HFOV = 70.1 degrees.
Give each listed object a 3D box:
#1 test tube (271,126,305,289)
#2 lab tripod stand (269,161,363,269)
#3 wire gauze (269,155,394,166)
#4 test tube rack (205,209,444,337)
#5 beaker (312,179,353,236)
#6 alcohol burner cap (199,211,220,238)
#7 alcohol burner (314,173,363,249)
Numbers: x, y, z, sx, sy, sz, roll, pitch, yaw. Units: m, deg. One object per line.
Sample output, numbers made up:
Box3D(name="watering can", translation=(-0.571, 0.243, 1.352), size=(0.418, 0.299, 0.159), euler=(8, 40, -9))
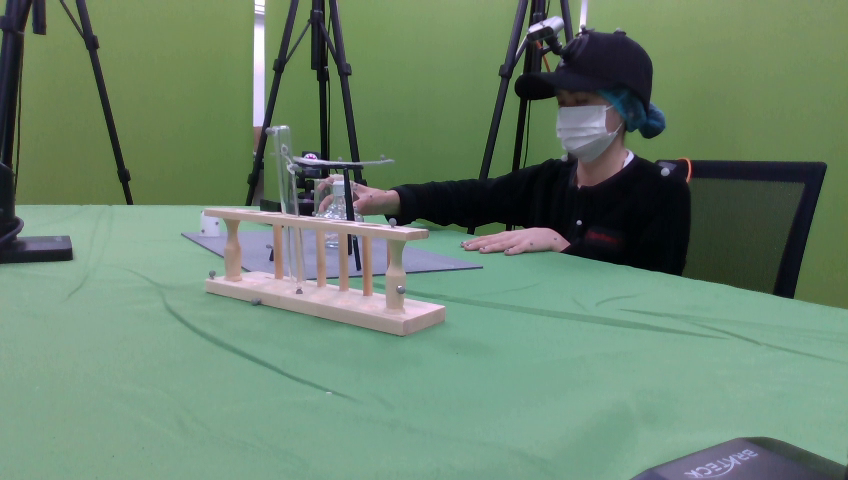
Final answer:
Box3D(name="test tube", translation=(-0.124, -0.028, 0.554), size=(0.017, 0.150, 0.017), euler=(-5, 7, 1))
Box3D(name="lab tripod stand", translation=(-0.125, -0.036, 0.794), size=(0.148, 0.131, 0.148), euler=(5, 7, 0))
Box3D(name="wire gauze", translation=(-0.121, -0.102, 0.785), size=(0.122, 0.011, 0.124), euler=(-3, 10, -39))
Box3D(name="test tube rack", translation=(-0.100, 0.021, 0.565), size=(0.241, 0.085, 0.067), euler=(7, 9, 32))
Box3D(name="beaker", translation=(-0.168, -0.060, 1.104), size=(0.074, 0.100, 0.084), euler=(1, 9, -12))
Box3D(name="alcohol burner cap", translation=(-0.356, -0.027, 1.002), size=(0.034, 0.048, 0.034), euler=(2, 7, 0))
Box3D(name="alcohol burner", translation=(-0.135, -0.046, 0.952), size=(0.078, 0.119, 0.078), euler=(1, 9, 0))
